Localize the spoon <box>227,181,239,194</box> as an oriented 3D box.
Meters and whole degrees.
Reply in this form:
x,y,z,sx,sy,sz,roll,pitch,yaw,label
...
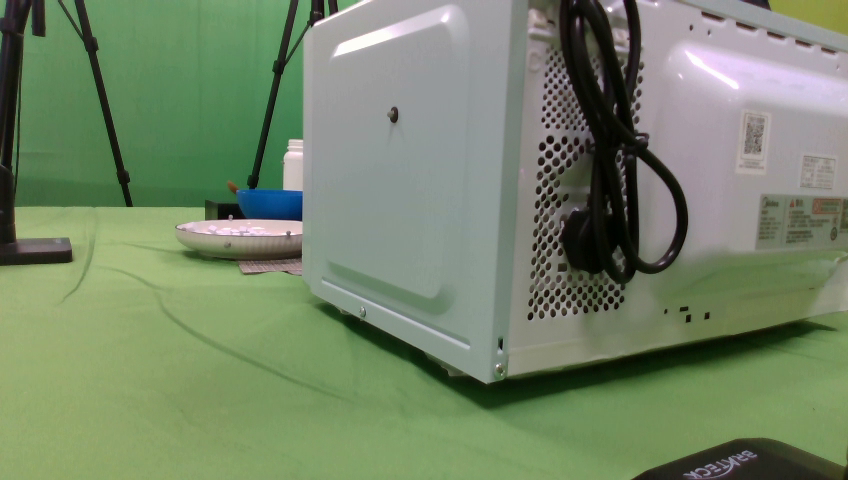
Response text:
x,y,z,sx,sy,sz,roll,pitch,yaw,label
-0.315,-0.074,1.235,0.195,0.021,0.041,24,-10,-37,spoon

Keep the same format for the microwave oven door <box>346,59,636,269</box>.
x,y,z,sx,sy,sz,roll,pitch,yaw,label
0.086,-0.089,0.752,0.357,0.243,0.039,1,8,-9,microwave oven door

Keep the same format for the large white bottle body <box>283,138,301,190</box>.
x,y,z,sx,sy,sz,roll,pitch,yaw,label
-0.265,-0.143,1.424,0.131,0.184,0.130,2,7,0,large white bottle body

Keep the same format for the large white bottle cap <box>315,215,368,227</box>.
x,y,z,sx,sy,sz,roll,pitch,yaw,label
-0.177,-0.041,1.309,0.115,0.018,0.115,2,6,0,large white bottle cap

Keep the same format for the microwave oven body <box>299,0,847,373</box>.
x,y,z,sx,sy,sz,roll,pitch,yaw,label
0.151,-0.055,0.543,0.444,0.260,0.324,-2,7,-33,microwave oven body

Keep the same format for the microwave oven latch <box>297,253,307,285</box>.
x,y,z,sx,sy,sz,roll,pitch,yaw,label
-0.081,0.027,0.582,0.079,0.029,0.030,-1,7,-31,microwave oven latch

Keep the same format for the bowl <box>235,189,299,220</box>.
x,y,z,sx,sy,sz,roll,pitch,yaw,label
-0.252,-0.047,1.064,0.151,0.077,0.151,2,8,0,bowl

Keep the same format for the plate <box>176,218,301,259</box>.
x,y,z,sx,sy,sz,roll,pitch,yaw,label
-0.248,-0.003,0.877,0.209,0.038,0.209,1,8,0,plate
